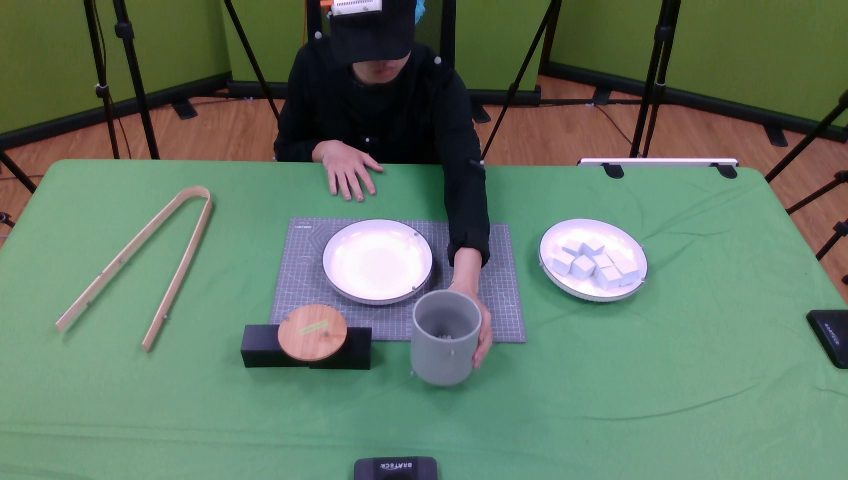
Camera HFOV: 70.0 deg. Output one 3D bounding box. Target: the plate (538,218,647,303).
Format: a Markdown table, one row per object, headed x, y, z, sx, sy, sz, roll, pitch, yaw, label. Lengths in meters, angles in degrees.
| x | y | z | sx | sy | sz | roll | pitch | yaw | label |
| --- | --- | --- | --- | --- | --- | --- | --- | --- | --- |
| 0.322 | 0.042 | 1.171 | 0.208 | 0.039 | 0.206 | 2 | 46 | -2 | plate |

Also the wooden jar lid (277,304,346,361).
| x | y | z | sx | sy | sz | roll | pitch | yaw | label |
| --- | --- | --- | --- | --- | --- | --- | --- | --- | --- |
| -0.179 | 0.150 | 0.972 | 0.108 | 0.021 | 0.107 | 2 | 45 | -2 | wooden jar lid |

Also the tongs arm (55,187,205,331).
| x | y | z | sx | sy | sz | roll | pitch | yaw | label |
| --- | --- | --- | --- | --- | --- | --- | --- | --- | --- |
| -0.530 | 0.022 | 1.126 | 0.051 | 0.026 | 0.383 | 15 | 46 | 8 | tongs arm |

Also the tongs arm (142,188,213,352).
| x | y | z | sx | sy | sz | roll | pitch | yaw | label |
| --- | --- | --- | --- | --- | --- | --- | --- | --- | --- |
| -0.450 | 0.040 | 1.122 | 0.028 | 0.028 | 0.385 | 3 | 46 | 1 | tongs arm |

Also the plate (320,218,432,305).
| x | y | z | sx | sy | sz | roll | pitch | yaw | label |
| --- | --- | --- | --- | --- | --- | --- | --- | --- | --- |
| -0.089 | 0.044 | 1.134 | 0.209 | 0.038 | 0.208 | 3 | 46 | -2 | plate |

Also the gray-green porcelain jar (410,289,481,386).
| x | y | z | sx | sy | sz | roll | pitch | yaw | label |
| --- | --- | --- | --- | --- | --- | --- | --- | --- | --- |
| 0.031 | 0.156 | 0.945 | 0.106 | 0.127 | 0.105 | 2 | 42 | -1 | gray-green porcelain jar |
